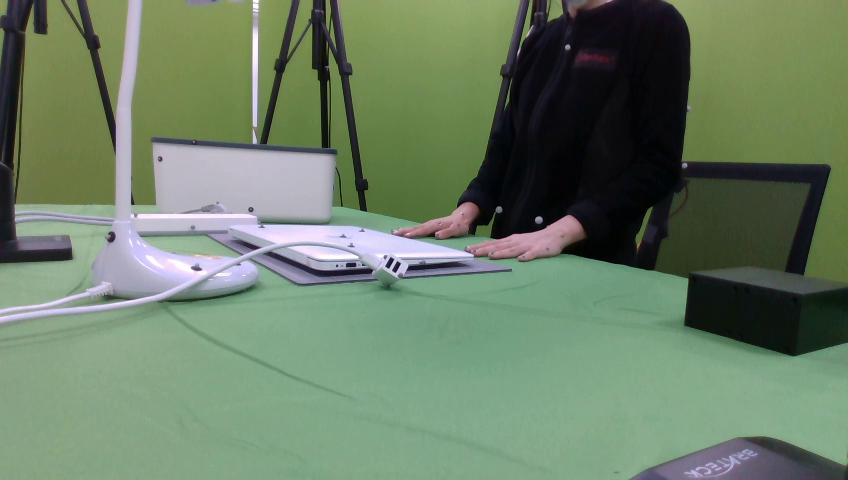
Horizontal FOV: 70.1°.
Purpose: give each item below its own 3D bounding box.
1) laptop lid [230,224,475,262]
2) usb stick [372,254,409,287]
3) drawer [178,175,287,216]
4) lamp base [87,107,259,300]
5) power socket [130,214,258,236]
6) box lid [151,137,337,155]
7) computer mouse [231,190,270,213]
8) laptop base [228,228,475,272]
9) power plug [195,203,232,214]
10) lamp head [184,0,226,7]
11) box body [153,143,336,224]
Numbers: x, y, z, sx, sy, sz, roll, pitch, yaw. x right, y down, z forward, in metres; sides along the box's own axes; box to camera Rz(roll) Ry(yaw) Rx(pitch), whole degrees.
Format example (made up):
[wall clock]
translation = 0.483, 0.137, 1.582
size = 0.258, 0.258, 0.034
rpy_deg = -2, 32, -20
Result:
[laptop lid]
translation = -0.119, 0.000, 0.888
size = 0.243, 0.013, 0.355
rpy_deg = 1, 7, -33
[usb stick]
translation = -0.039, 0.035, 0.663
size = 0.027, 0.021, 0.059
rpy_deg = 29, -21, -7
[drawer]
translation = -0.414, -0.103, 1.341
size = 0.212, 0.073, 0.194
rpy_deg = 5, 6, -11
[lamp base]
translation = -0.254, -0.039, 0.603
size = 0.160, 0.180, 0.179
rpy_deg = 5, 10, 18
[power socket]
translation = -0.398, -0.028, 1.049
size = 0.228, 0.032, 0.072
rpy_deg = -3, 8, -34
[box lid]
translation = -0.379, -0.203, 1.334
size = 0.372, 0.015, 0.262
rpy_deg = 2, 7, -9
[computer mouse]
translation = -0.382, -0.086, 1.342
size = 0.063, 0.041, 0.117
rpy_deg = 11, 10, -4
[laptop base]
translation = -0.122, 0.012, 0.889
size = 0.237, 0.023, 0.352
rpy_deg = 1, 7, -35
[power plug]
translation = -0.392, -0.043, 1.140
size = 0.072, 0.052, 0.035
rpy_deg = -12, 1, 35
[lamp head]
translation = -0.229, -0.320, 0.627
size = 0.112, 0.112, 0.123
rpy_deg = 6, -36, 26
[box body]
translation = -0.380, -0.130, 1.344
size = 0.365, 0.160, 0.253
rpy_deg = 1, 7, -9
